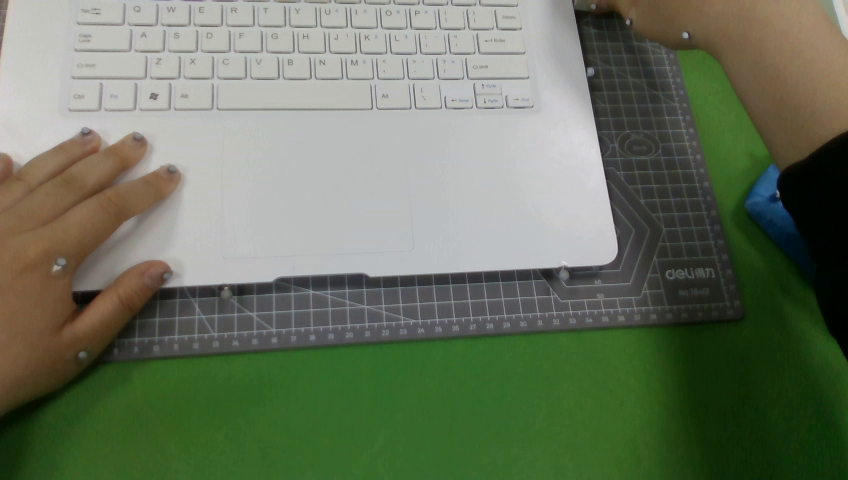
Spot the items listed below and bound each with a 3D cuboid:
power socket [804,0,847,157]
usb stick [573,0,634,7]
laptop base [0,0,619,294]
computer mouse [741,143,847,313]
[{"bbox_3d":[0.327,-0.115,0.428,0.072,0.033,0.225,1,71,-7],"label":"power socket"},{"bbox_3d":[0.118,-0.178,0.418,0.059,0.027,0.021,-1,72,-4],"label":"usb stick"},{"bbox_3d":[-0.067,-0.089,0.374,0.355,0.023,0.234,-3,75,-9],"label":"laptop base"},{"bbox_3d":[0.262,-0.010,0.382,0.063,0.041,0.116,-37,77,-15],"label":"computer mouse"}]
